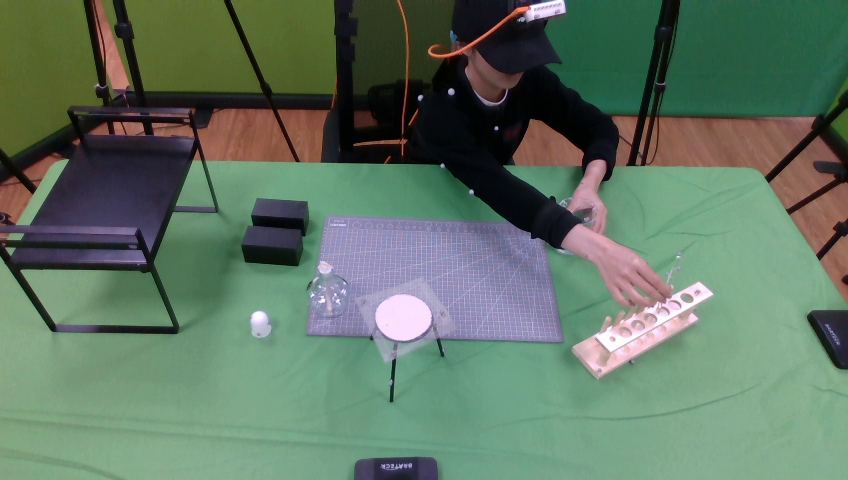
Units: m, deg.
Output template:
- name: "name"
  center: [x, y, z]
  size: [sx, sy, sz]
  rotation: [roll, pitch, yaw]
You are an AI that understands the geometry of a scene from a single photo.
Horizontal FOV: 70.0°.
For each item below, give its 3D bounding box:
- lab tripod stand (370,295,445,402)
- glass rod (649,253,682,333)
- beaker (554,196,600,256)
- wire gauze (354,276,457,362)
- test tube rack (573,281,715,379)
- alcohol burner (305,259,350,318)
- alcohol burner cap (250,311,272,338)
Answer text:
- name: "lab tripod stand"
  center: [-0.036, 0.160, 0.959]
  size: [0.148, 0.132, 0.147]
  rotation: [1, 46, 0]
- name: "glass rod"
  center: [0.393, 0.091, 0.989]
  size: [0.008, 0.201, 0.008]
  rotation: [-1, 45, 1]
- name: "beaker"
  center: [0.297, -0.025, 1.182]
  size: [0.084, 0.101, 0.073]
  rotation: [-17, 51, -14]
- name: "wire gauze"
  center: [-0.029, 0.113, 0.912]
  size: [0.121, 0.011, 0.124]
  rotation: [-18, 49, -19]
- name: "test tube rack"
  center: [0.378, 0.140, 1.038]
  size: [0.242, 0.085, 0.066]
  rotation: [-22, 51, -22]
- name: "alcohol burner"
  center: [-0.166, 0.078, 1.040]
  size: [0.078, 0.120, 0.077]
  rotation: [1, 44, -1]
- name: "alcohol burner cap"
  center: [-0.278, 0.141, 1.025]
  size: [0.034, 0.048, 0.033]
  rotation: [1, 46, -1]
